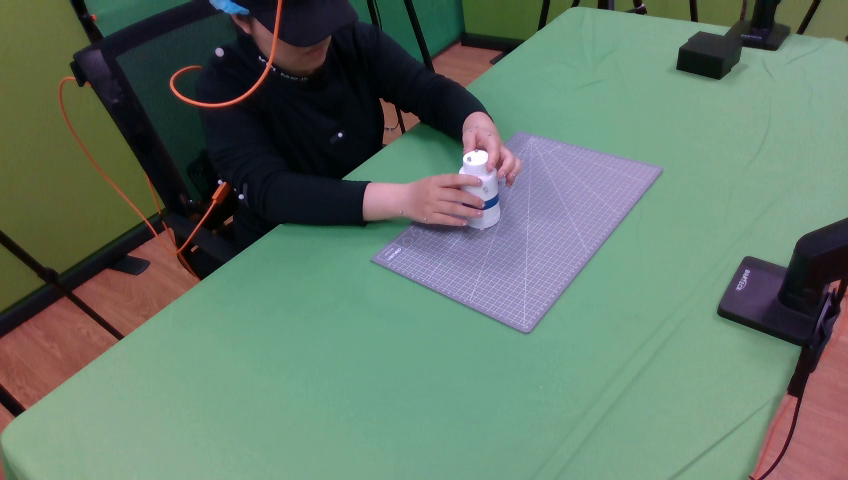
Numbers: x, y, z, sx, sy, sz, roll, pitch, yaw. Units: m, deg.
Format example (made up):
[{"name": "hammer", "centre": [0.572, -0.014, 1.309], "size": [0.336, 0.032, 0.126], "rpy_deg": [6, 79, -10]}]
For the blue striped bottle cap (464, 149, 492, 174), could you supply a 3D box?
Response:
[{"name": "blue striped bottle cap", "centre": [0.085, -0.123, 0.949], "size": [0.044, 0.021, 0.044], "rpy_deg": [-8, 40, 7]}]

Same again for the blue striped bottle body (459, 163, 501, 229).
[{"name": "blue striped bottle body", "centre": [0.091, -0.083, 0.982], "size": [0.063, 0.121, 0.063], "rpy_deg": [-6, 40, 5]}]
